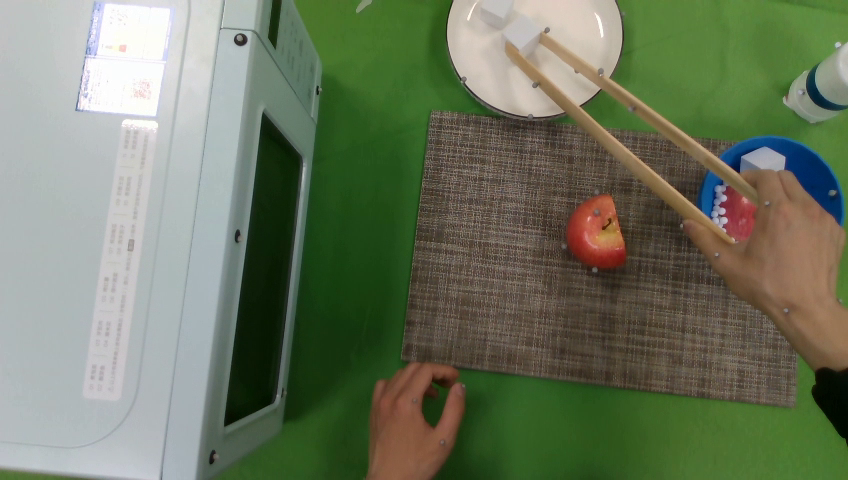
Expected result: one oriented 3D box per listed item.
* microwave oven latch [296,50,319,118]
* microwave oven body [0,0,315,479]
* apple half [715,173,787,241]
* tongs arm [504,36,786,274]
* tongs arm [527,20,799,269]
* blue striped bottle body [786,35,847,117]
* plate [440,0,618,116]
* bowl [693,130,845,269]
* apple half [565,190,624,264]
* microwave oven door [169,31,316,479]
[{"bbox_3d":[-0.139,-0.182,0.704,0.030,0.029,0.079,5,85,1],"label":"microwave oven latch"},{"bbox_3d":[-0.305,-0.031,0.594,0.326,0.260,0.440,5,84,1],"label":"microwave oven body"},{"bbox_3d":[0.365,-0.038,0.666,0.081,0.033,0.081,0,83,1],"label":"apple half"},{"bbox_3d":[0.198,-0.101,0.616,0.028,0.028,0.383,-34,59,-6],"label":"tongs arm"},{"bbox_3d":[0.218,-0.115,0.617,0.051,0.027,0.381,-39,60,-5],"label":"tongs arm"},{"bbox_3d":[0.462,-0.185,0.667,0.063,0.121,0.063,0,83,2],"label":"blue striped bottle body"},{"bbox_3d":[0.123,-0.246,0.723,0.208,0.039,0.207,0,84,1],"label":"plate"},{"bbox_3d":[0.364,-0.038,0.671,0.151,0.077,0.151,0,84,2],"label":"bowl"},{"bbox_3d":[0.184,-0.011,0.675,0.053,0.075,0.080,-13,87,4],"label":"apple half"},{"bbox_3d":[-0.162,0.021,0.580,0.039,0.244,0.355,4,84,3],"label":"microwave oven door"}]
